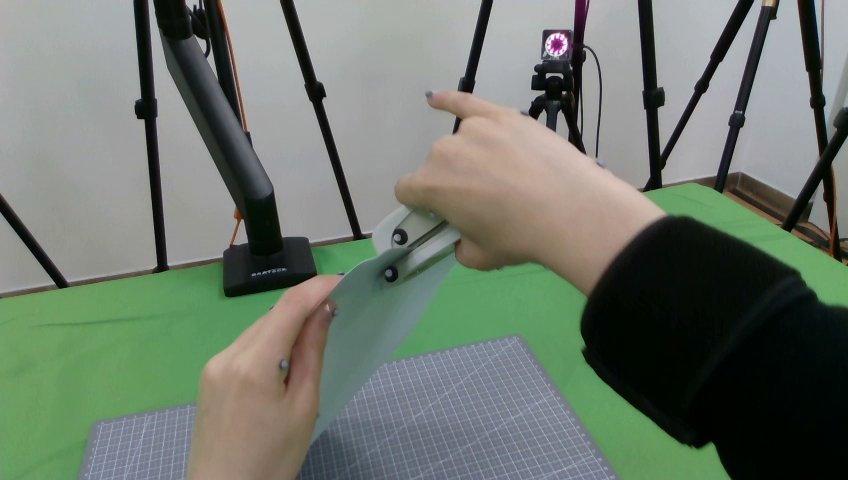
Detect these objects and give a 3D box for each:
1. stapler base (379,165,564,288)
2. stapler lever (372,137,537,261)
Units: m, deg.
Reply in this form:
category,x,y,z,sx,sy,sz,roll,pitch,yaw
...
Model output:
category,x,y,z,sx,sy,sz,roll,pitch,yaw
stapler base,0.020,-0.011,0.363,0.130,0.024,0.041,-33,-5,30
stapler lever,0.013,-0.025,0.365,0.040,0.118,0.027,51,29,9
